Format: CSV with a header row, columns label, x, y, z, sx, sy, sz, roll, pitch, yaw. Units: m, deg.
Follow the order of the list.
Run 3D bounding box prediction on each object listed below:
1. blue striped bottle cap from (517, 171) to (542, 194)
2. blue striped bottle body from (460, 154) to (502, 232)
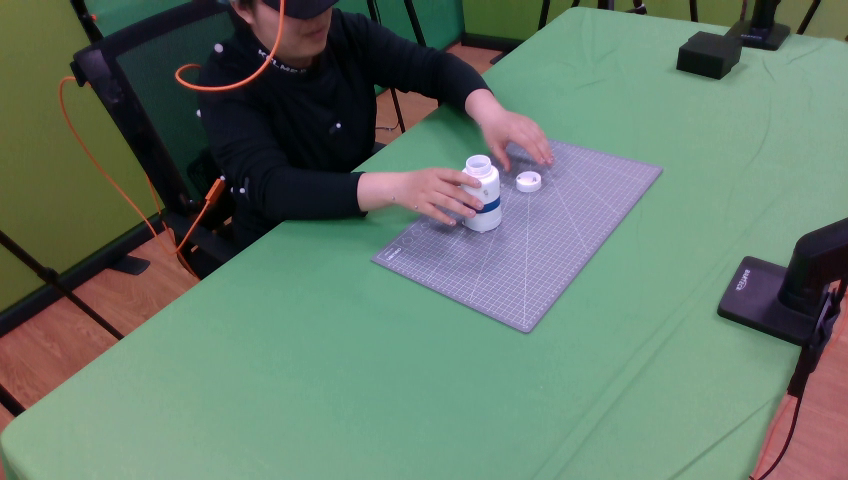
label,x,y,z,sx,sy,sz,roll,pitch,yaw
blue striped bottle cap,0.187,-0.103,1.072,0.044,0.021,0.044,-5,42,5
blue striped bottle body,0.092,-0.078,0.976,0.063,0.121,0.063,-6,40,5
